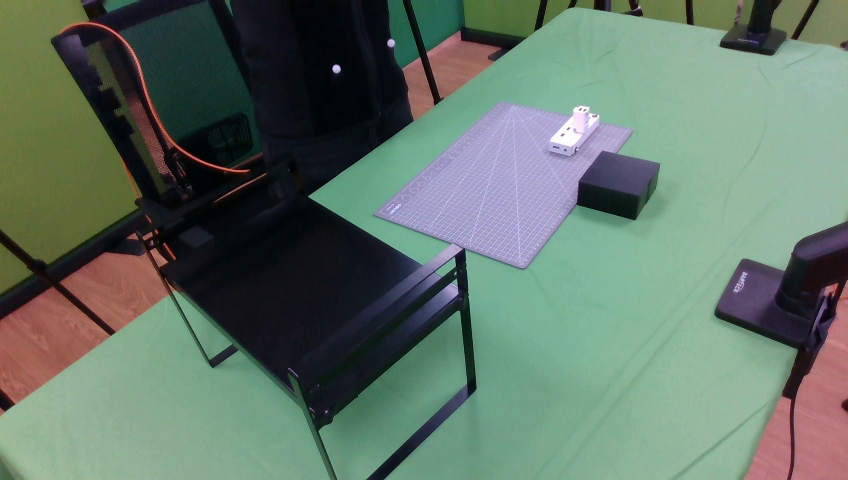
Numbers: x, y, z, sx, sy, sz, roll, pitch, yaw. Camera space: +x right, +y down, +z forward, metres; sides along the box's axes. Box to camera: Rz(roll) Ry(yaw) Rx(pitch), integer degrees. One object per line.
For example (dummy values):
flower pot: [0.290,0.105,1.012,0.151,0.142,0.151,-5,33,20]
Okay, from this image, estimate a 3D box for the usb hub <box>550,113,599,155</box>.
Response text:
usb hub: [0.291,-0.207,1.166,0.049,0.025,0.125,21,49,29]

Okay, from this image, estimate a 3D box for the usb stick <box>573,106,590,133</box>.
usb stick: [0.295,-0.220,1.137,0.027,0.059,0.021,22,50,29]
